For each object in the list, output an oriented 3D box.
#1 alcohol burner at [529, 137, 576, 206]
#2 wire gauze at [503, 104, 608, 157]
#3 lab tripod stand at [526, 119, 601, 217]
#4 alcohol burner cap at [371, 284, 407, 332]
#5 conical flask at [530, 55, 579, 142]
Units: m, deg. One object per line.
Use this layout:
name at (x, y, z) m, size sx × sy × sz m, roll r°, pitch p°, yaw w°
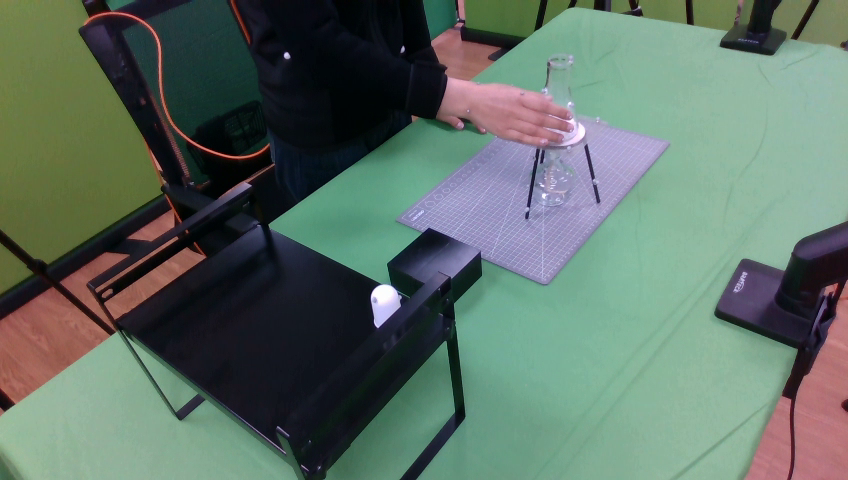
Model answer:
alcohol burner at (0.214, -0.117, 1.006) m, size 0.078 × 0.119 × 0.077 m, roll -4°, pitch 38°, yaw 4°
wire gauze at (0.208, -0.172, 0.954) m, size 0.120 × 0.011 × 0.125 m, roll 22°, pitch 50°, yaw 32°
lab tripod stand at (0.221, -0.122, 0.995) m, size 0.148 × 0.132 × 0.147 m, roll -3°, pitch 39°, yaw 3°
alcohol burner cap at (-0.037, 0.066, 0.608) m, size 0.034 × 0.048 × 0.033 m, roll -5°, pitch 40°, yaw 5°
conical flask at (0.200, -0.215, 0.914) m, size 0.075 × 0.122 × 0.075 m, roll -3°, pitch 41°, yaw 3°
